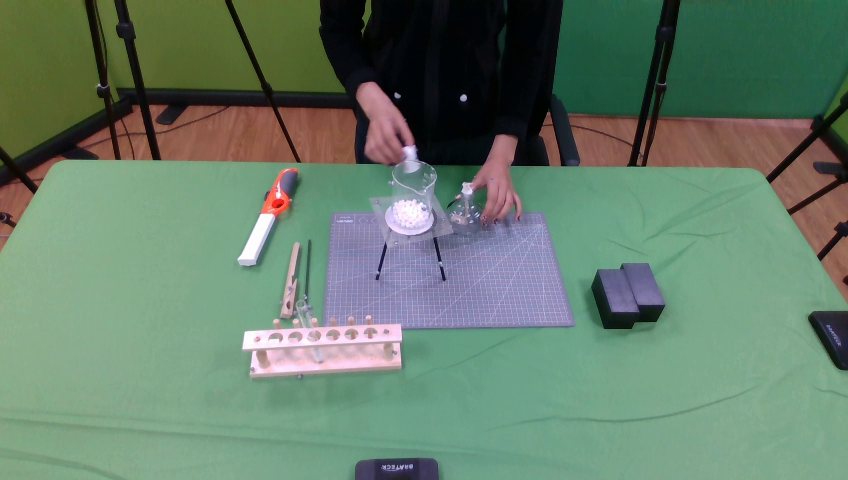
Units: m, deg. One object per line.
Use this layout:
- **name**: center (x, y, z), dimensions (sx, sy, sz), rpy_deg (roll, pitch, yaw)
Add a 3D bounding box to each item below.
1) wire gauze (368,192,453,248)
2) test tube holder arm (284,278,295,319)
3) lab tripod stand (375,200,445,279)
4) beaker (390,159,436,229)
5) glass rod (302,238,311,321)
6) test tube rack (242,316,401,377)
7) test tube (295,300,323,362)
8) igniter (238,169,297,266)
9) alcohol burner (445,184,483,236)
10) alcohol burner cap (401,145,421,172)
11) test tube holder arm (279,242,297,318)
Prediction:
- **wire gauze**: center (-0.025, -0.041, 1.065), dimensions (0.122, 0.011, 0.124), rpy_deg (-10, 46, -18)
- **test tube holder arm**: center (-0.241, 0.103, 1.085), dimensions (0.010, 0.015, 0.087), rpy_deg (26, 38, -27)
- **lab tripod stand**: center (-0.023, 0.004, 1.113), dimensions (0.148, 0.132, 0.147), rpy_deg (4, 45, -3)
- **beaker**: center (-0.020, -0.073, 1.029), dimensions (0.074, 0.101, 0.083), rpy_deg (-10, 48, -16)
- **glass rod**: center (-0.217, 0.069, 1.125), dimensions (0.008, 0.008, 0.198), rpy_deg (-1, 47, -5)
- **test tube rack**: center (-0.160, 0.166, 0.983), dimensions (0.242, 0.085, 0.066), rpy_deg (-2, 46, -6)
- **test tube**: center (-0.176, 0.143, 0.935), dimensions (0.017, 0.151, 0.017), rpy_deg (-2, 46, 2)
- **igniter**: center (-0.313, -0.055, 1.224), dimensions (0.057, 0.025, 0.275), rpy_deg (1, 45, 10)
- **alcohol burner**: center (0.081, -0.066, 1.203), dimensions (0.078, 0.119, 0.077), rpy_deg (2, 48, -2)
- **alcohol burner cap**: center (-0.027, -0.152, 1.123), dimensions (0.034, 0.048, 0.033), rpy_deg (-10, 37, 8)
- **test tube holder arm**: center (-0.249, 0.069, 1.114), dimensions (0.013, 0.015, 0.177), rpy_deg (26, 38, -28)
